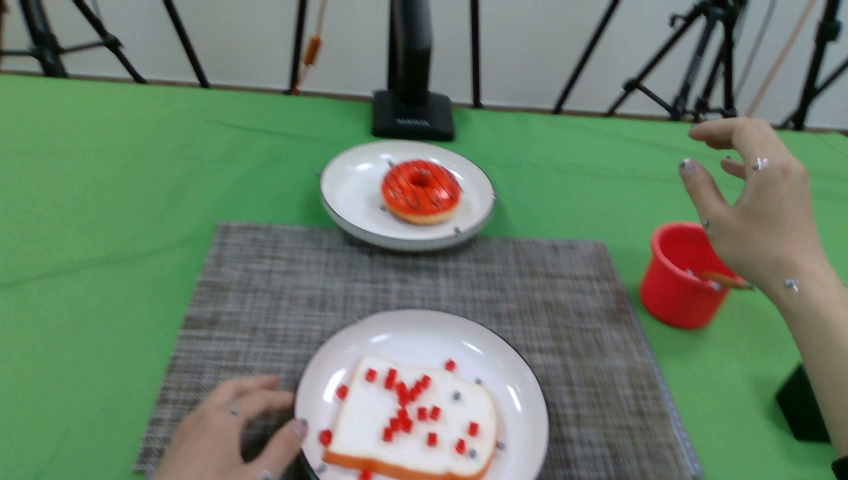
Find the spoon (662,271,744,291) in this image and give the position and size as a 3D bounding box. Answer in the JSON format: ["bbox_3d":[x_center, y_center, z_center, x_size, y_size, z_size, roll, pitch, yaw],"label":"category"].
[{"bbox_3d":[0.271,0.038,0.592,0.041,0.021,0.194,17,-2,9],"label":"spoon"}]

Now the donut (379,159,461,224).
[{"bbox_3d":[-0.005,-0.057,0.718,0.099,0.048,0.098,5,42,-4],"label":"donut"}]

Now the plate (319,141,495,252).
[{"bbox_3d":[-0.021,-0.050,0.725,0.208,0.039,0.205,5,39,-4],"label":"plate"}]

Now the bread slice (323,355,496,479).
[{"bbox_3d":[-0.006,0.147,0.503,0.131,0.019,0.104,10,41,5],"label":"bread slice"}]

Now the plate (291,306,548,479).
[{"bbox_3d":[-0.003,0.143,0.503,0.209,0.038,0.207,4,41,-4],"label":"plate"}]
